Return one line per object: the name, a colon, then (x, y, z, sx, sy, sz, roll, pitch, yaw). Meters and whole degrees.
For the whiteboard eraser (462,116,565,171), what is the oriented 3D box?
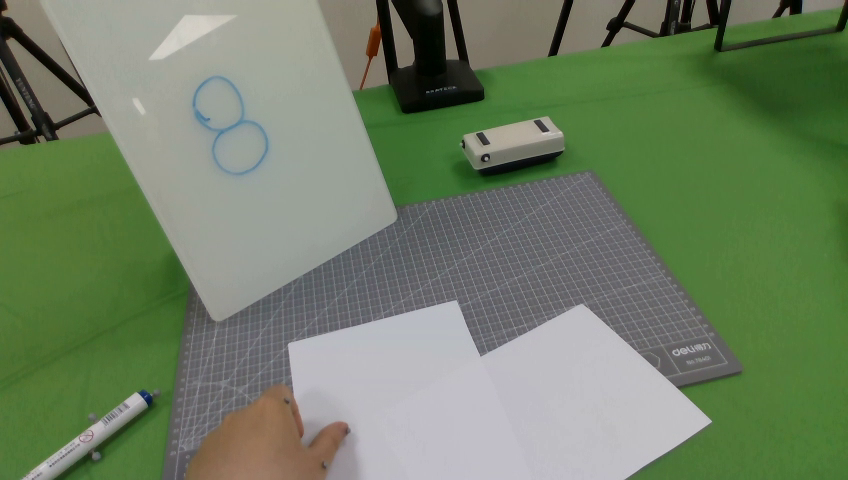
whiteboard eraser: (0.105, -0.112, 0.718, 0.113, 0.042, 0.055, -13, 43, -9)

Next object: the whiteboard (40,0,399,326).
whiteboard: (-0.192, -0.114, 0.600, 0.217, 0.308, 0.142, -31, 26, -26)

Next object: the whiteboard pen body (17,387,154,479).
whiteboard pen body: (-0.267, 0.161, 0.455, 0.017, 0.017, 0.140, 24, 48, 31)
